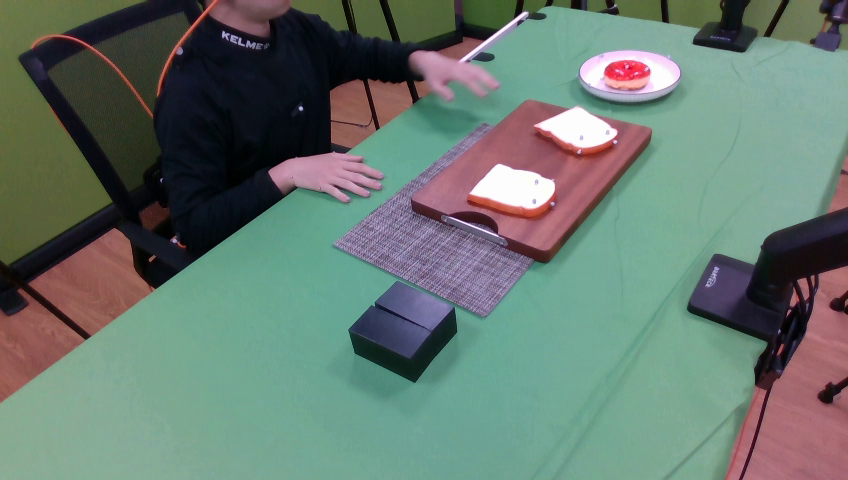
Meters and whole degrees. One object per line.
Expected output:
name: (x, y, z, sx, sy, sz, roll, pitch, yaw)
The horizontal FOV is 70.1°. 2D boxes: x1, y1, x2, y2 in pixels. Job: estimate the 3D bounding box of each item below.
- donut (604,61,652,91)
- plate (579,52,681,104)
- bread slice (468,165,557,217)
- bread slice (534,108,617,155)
donut: (0.432, -0.349, 1.285, 0.099, 0.048, 0.098, -4, 38, 4)
plate: (0.437, -0.343, 1.294, 0.209, 0.038, 0.208, -4, 40, 4)
bread slice: (0.154, -0.082, 1.004, 0.130, 0.019, 0.105, 18, 48, 29)
bread slice: (0.289, -0.200, 1.121, 0.107, 0.018, 0.133, -27, 43, -22)
